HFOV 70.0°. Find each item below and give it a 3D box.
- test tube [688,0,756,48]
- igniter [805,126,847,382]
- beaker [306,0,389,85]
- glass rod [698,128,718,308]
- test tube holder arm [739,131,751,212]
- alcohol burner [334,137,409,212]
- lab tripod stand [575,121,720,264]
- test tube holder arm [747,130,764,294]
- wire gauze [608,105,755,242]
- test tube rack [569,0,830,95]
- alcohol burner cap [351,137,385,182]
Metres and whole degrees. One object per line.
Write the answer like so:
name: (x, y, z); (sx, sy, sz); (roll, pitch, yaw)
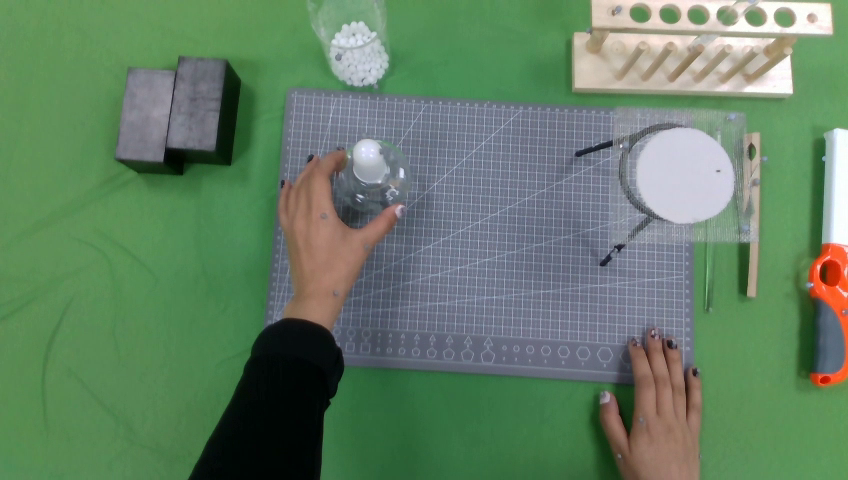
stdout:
test tube: (0.306, -0.228, 0.599); (0.017, 0.150, 0.017); (1, 81, -6)
igniter: (0.434, 0.013, 0.644); (0.057, 0.025, 0.275); (10, 81, -9)
beaker: (-0.076, -0.214, 0.634); (0.084, 0.100, 0.074); (22, 81, 4)
glass rod: (0.309, -0.025, 0.658); (0.008, 0.008, 0.199); (7, 85, 0)
test tube holder arm: (0.352, -0.075, 0.661); (0.010, 0.015, 0.087); (-5, 78, 38)
alcohol burner: (-0.054, -0.070, 0.602); (0.078, 0.119, 0.077); (0, 79, 1)
lab tripod stand: (0.211, -0.054, 0.594); (0.148, 0.132, 0.148); (0, 81, 2)
test tube holder arm: (0.355, -0.031, 0.650); (0.013, 0.015, 0.177); (-7, 77, 37)
wire gauze: (0.222, -0.058, 0.527); (0.121, 0.011, 0.124); (2, 81, 1)
test tube rack: (0.286, -0.205, 0.645); (0.242, 0.085, 0.066); (1, 81, 0)
alcohol burner cap: (-0.053, -0.078, 0.567); (0.034, 0.048, 0.033); (1, 72, -3)
